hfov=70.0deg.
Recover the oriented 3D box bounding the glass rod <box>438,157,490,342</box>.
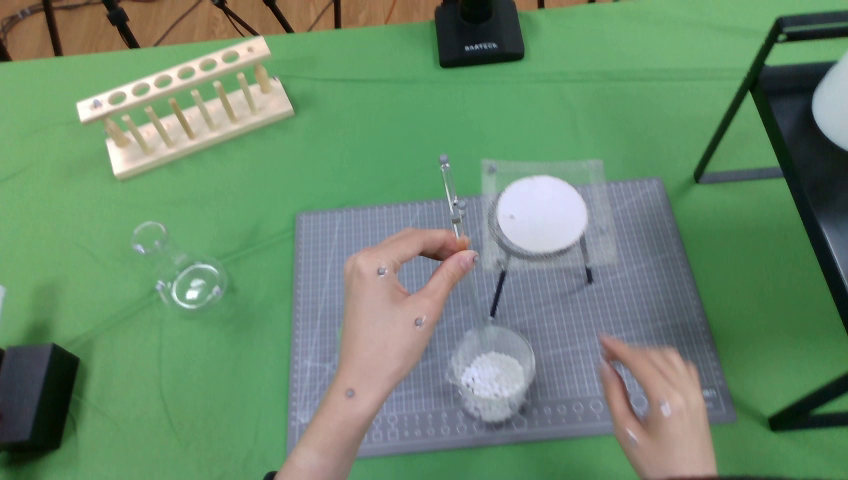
[{"bbox_3d":[0.032,0.018,0.430,0.008,0.202,0.008,-8,47,9],"label":"glass rod"}]

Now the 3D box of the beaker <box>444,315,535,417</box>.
[{"bbox_3d":[0.062,0.128,0.587,0.084,0.101,0.073,-17,61,-4],"label":"beaker"}]

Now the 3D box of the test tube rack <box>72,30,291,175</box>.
[{"bbox_3d":[-0.307,-0.178,0.785,0.242,0.086,0.066,-24,63,-9],"label":"test tube rack"}]

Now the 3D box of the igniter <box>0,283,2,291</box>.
[{"bbox_3d":[-0.450,0.164,0.591,0.057,0.025,0.274,-14,61,1],"label":"igniter"}]

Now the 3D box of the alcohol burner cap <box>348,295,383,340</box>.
[{"bbox_3d":[-0.057,0.071,0.575,0.034,0.048,0.033,0,55,1],"label":"alcohol burner cap"}]

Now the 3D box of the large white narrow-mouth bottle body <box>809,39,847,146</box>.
[{"bbox_3d":[0.392,-0.163,0.466,0.102,0.196,0.101,-1,60,3],"label":"large white narrow-mouth bottle body"}]

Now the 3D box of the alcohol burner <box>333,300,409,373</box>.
[{"bbox_3d":[-0.055,0.090,0.607,0.078,0.120,0.077,-1,60,1],"label":"alcohol burner"}]

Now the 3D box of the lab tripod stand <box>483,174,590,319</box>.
[{"bbox_3d":[0.110,0.003,0.631,0.148,0.132,0.147,-1,60,2],"label":"lab tripod stand"}]

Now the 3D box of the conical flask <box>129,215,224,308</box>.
[{"bbox_3d":[-0.272,0.019,0.657,0.075,0.123,0.074,-2,61,3],"label":"conical flask"}]

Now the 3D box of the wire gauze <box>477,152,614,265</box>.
[{"bbox_3d":[0.113,-0.034,0.573,0.121,0.011,0.124,0,62,2],"label":"wire gauze"}]
